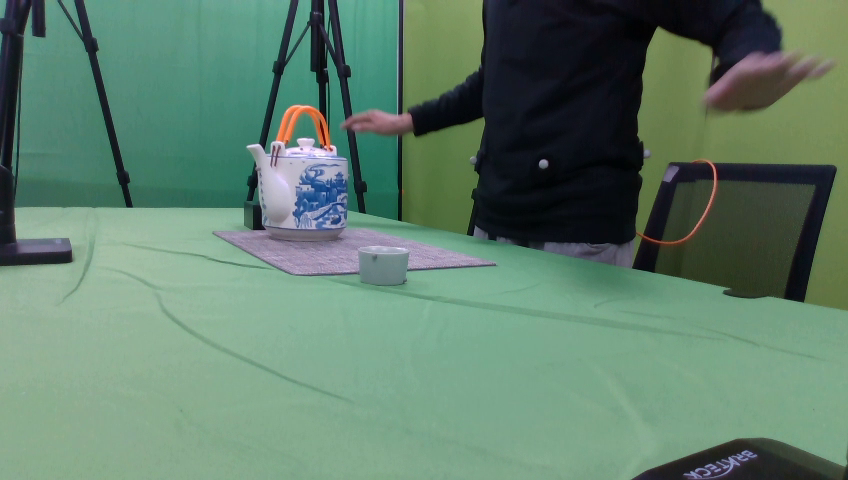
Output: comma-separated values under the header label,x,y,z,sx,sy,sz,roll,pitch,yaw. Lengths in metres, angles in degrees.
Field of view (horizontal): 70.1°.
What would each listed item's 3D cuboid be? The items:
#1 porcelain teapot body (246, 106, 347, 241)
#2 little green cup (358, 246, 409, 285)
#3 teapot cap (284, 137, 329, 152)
label,x,y,z,sx,sy,sz,roll,pitch,yaw
porcelain teapot body,-0.219,-0.113,1.019,0.144,0.225,0.206,6,9,27
little green cup,-0.048,0.030,0.707,0.061,0.038,0.061,2,8,0
teapot cap,-0.205,-0.155,1.041,0.085,0.044,0.085,0,8,0
